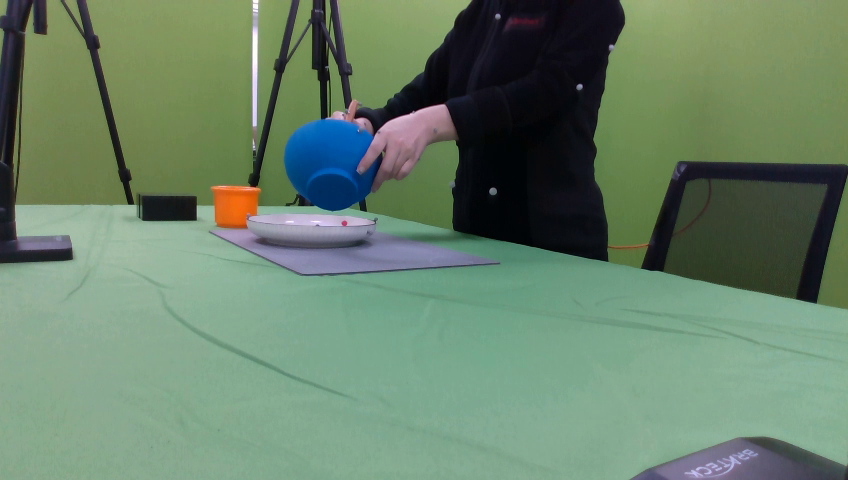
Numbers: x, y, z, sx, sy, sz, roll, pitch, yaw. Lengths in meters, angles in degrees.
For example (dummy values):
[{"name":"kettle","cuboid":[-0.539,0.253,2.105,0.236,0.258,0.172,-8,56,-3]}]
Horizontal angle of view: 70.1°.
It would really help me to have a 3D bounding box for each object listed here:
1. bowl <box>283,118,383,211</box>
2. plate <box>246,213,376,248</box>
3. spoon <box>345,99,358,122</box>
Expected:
[{"name":"bowl","cuboid":[-0.135,-0.096,0.893,0.152,0.151,0.076,1,46,-7]},{"name":"plate","cuboid":[-0.185,-0.017,0.994,0.209,0.038,0.209,3,8,0]},{"name":"spoon","cuboid":[-0.138,-0.155,0.992,0.042,0.193,0.021,13,-30,-2]}]
